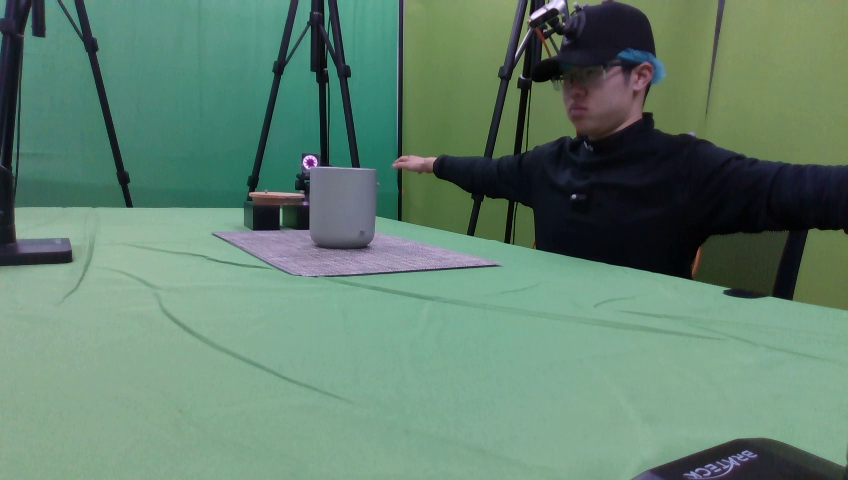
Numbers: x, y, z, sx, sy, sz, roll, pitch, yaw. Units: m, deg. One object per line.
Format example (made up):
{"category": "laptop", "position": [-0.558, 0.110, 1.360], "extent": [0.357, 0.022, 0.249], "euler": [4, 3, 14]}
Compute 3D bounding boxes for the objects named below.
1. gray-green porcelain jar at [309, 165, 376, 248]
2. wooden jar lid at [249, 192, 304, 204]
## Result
{"category": "gray-green porcelain jar", "position": [-0.130, -0.054, 0.965], "extent": [0.106, 0.126, 0.106], "euler": [2, 7, 0]}
{"category": "wooden jar lid", "position": [-0.297, -0.086, 1.220], "extent": [0.108, 0.020, 0.108], "euler": [4, 7, 0]}
